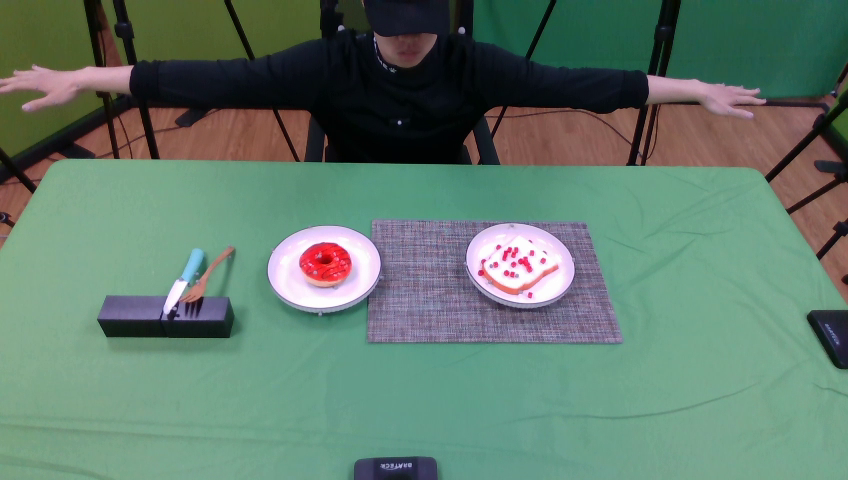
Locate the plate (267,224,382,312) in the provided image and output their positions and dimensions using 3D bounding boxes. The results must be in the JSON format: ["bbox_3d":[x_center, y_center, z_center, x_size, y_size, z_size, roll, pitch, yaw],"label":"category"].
[{"bbox_3d":[-0.182,0.055,1.120,0.208,0.039,0.206,2,46,-2],"label":"plate"}]

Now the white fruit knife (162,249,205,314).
[{"bbox_3d":[-0.420,0.070,1.063,0.027,0.016,0.206,-1,29,-3],"label":"white fruit knife"}]

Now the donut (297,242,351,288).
[{"bbox_3d":[-0.182,0.045,1.112,0.099,0.048,0.098,4,45,-4],"label":"donut"}]

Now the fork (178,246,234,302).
[{"bbox_3d":[-0.380,0.057,1.075,0.028,0.019,0.206,2,28,6],"label":"fork"}]

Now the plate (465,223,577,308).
[{"bbox_3d":[0.180,0.051,1.144,0.209,0.038,0.208,2,45,-2],"label":"plate"}]

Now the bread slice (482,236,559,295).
[{"bbox_3d":[0.177,0.050,1.147,0.131,0.019,0.104,-32,55,-30],"label":"bread slice"}]
